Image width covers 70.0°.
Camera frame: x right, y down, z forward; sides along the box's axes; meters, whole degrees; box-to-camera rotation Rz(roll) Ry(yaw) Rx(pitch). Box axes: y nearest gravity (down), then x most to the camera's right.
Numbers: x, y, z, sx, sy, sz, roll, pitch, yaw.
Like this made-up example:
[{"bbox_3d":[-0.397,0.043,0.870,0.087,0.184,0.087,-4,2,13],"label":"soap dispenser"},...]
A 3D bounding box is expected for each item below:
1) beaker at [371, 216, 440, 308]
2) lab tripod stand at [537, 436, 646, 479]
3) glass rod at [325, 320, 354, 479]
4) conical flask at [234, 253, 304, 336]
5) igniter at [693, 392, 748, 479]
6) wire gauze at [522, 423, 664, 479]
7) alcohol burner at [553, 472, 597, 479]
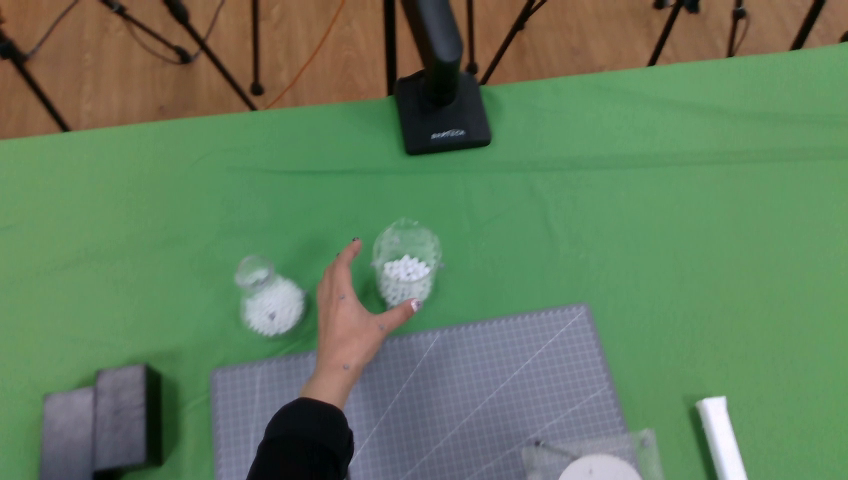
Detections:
[{"bbox_3d":[-0.023,0.029,0.698,0.074,0.101,0.083,-7,66,-7],"label":"beaker"},{"bbox_3d":[0.153,0.258,0.587,0.148,0.132,0.147,2,68,-3],"label":"lab tripod stand"},{"bbox_3d":[-0.093,0.183,0.671,0.008,0.008,0.198,-9,67,-8],"label":"glass rod"},{"bbox_3d":[-0.176,0.054,0.663,0.075,0.122,0.075,1,66,-3],"label":"conical flask"},{"bbox_3d":[0.341,0.302,0.643,0.057,0.025,0.274,0,66,-16],"label":"igniter"},{"bbox_3d":[0.157,0.229,0.527,0.125,0.011,0.120,-6,68,-6],"label":"wire gauze"},{"bbox_3d":[0.155,0.268,0.594,0.078,0.120,0.077,1,67,-1],"label":"alcohol burner"}]
